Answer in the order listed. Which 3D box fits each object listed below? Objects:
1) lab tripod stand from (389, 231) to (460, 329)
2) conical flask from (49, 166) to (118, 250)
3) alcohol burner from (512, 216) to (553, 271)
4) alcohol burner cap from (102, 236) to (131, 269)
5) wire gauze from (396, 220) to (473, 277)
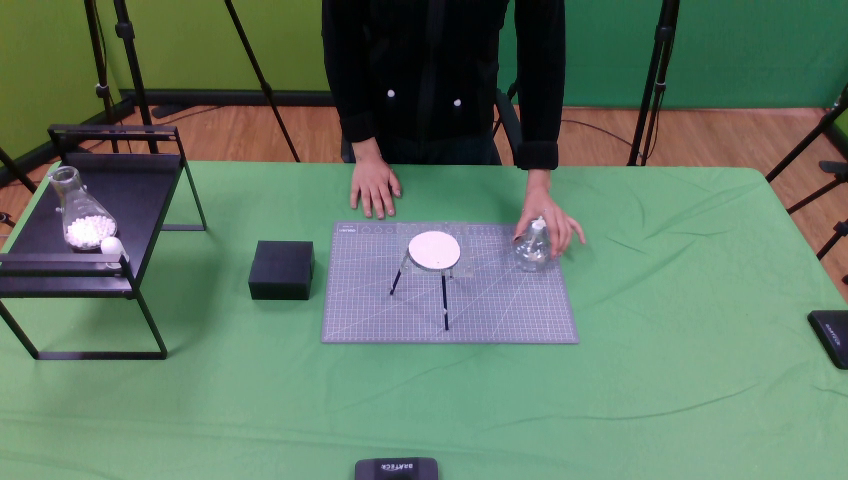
[{"bbox_3d":[0.015,0.063,1.058,0.148,0.132,0.147,4,46,-4],"label":"lab tripod stand"},{"bbox_3d":[-0.505,-0.051,0.888,0.075,0.122,0.075,2,45,-2],"label":"conical flask"},{"bbox_3d":[0.207,0.001,1.145,0.078,0.120,0.077,1,44,-1],"label":"alcohol burner"},{"bbox_3d":[-0.451,0.016,0.883,0.034,0.048,0.033,3,44,-3],"label":"alcohol burner cap"},{"bbox_3d":[0.016,0.012,1.013,0.125,0.011,0.120,1,47,-5],"label":"wire gauze"}]
